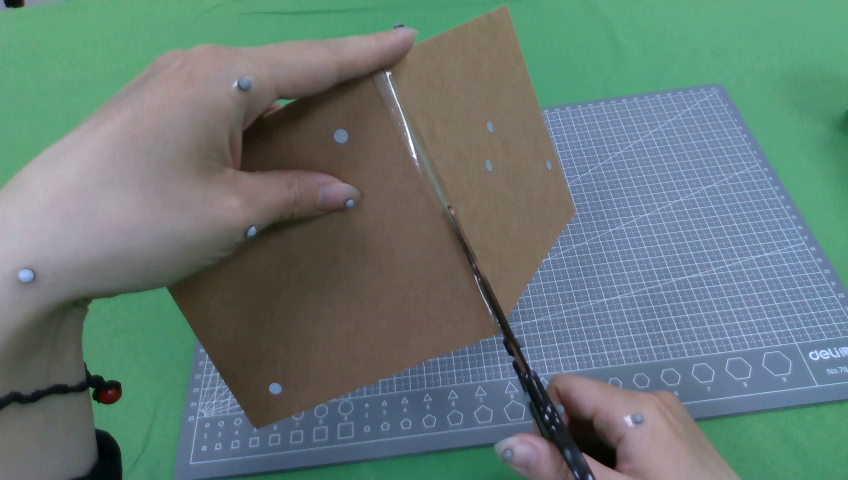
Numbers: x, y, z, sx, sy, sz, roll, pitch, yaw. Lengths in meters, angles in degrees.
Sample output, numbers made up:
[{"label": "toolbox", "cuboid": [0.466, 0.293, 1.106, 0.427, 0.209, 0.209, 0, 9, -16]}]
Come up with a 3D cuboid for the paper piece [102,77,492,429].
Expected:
[{"label": "paper piece", "cuboid": [-0.057, 0.014, 0.284, 0.138, 0.136, 0.008, -22, 14, 9]}]

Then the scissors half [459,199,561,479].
[{"label": "scissors half", "cuboid": [0.048, 0.057, 0.301, 0.013, 0.176, 0.039, -23, 23, 0]}]

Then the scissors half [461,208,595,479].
[{"label": "scissors half", "cuboid": [0.050, 0.061, 0.280, 0.013, 0.040, 0.175, -24, 88, -5]}]

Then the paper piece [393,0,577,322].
[{"label": "paper piece", "cuboid": [0.045, -0.049, 0.321, 0.004, 0.136, 0.135, -7, 23, 37]}]
